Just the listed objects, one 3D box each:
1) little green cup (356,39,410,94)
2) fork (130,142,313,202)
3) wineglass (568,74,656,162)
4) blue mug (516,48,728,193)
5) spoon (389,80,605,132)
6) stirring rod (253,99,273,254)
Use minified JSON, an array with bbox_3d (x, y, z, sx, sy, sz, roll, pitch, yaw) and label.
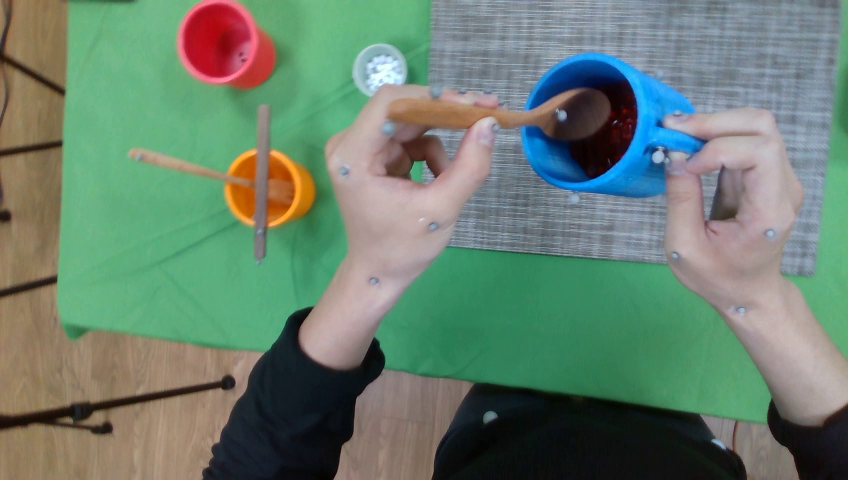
[{"bbox_3d":[-0.046,-0.202,0.717,0.061,0.038,0.061,1,94,9],"label":"little green cup"},{"bbox_3d":[-0.225,-0.078,0.695,0.209,0.018,0.028,14,104,-36],"label":"fork"},{"bbox_3d":[0.185,-0.119,0.617,0.073,0.172,0.074,0,93,9],"label":"wineglass"},{"bbox_3d":[0.136,-0.070,0.395,0.115,0.106,0.082,22,105,37],"label":"blue mug"},{"bbox_3d":[0.052,-0.075,0.344,0.021,0.194,0.042,53,128,17],"label":"spoon"},{"bbox_3d":[-0.183,-0.071,0.687,0.014,0.006,0.176,5,94,8],"label":"stirring rod"}]
